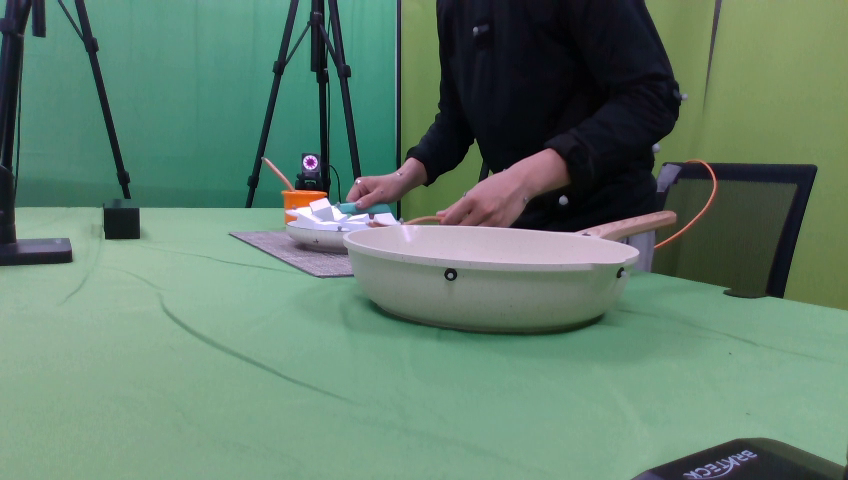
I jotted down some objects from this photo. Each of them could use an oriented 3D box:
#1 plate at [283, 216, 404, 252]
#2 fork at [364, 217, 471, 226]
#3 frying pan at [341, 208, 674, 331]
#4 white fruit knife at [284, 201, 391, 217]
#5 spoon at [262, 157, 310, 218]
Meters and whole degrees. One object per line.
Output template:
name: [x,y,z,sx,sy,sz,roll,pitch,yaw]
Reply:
plate: [-0.119,-0.009,0.968,0.208,0.039,0.207,2,7,0]
fork: [-0.001,-0.023,0.862,0.208,0.018,0.028,-7,25,-44]
frying pan: [0.144,0.008,0.677,0.490,0.102,0.305,-13,16,-36]
white fruit knife: [-0.153,-0.056,1.099,0.208,0.027,0.016,-5,-20,-33]
spoon: [-0.276,-0.103,1.251,0.021,0.193,0.042,-43,-15,22]
